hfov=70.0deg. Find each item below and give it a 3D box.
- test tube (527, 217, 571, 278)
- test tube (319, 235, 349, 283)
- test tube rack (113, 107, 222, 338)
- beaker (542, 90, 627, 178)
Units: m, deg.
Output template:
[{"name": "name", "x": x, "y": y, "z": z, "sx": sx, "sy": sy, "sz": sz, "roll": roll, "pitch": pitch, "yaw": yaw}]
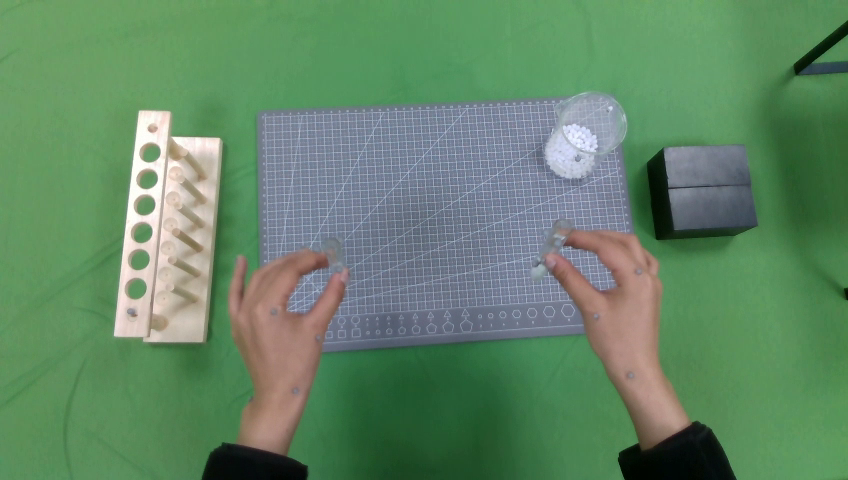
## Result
[{"name": "test tube", "x": 0.110, "y": 0.011, "z": 0.546, "sx": 0.017, "sy": 0.151, "sz": 0.017, "roll": 0, "pitch": 73, "yaw": 2}, {"name": "test tube", "x": -0.082, "y": 0.021, "z": 0.564, "sx": 0.017, "sy": 0.151, "sz": 0.017, "roll": 1, "pitch": 76, "yaw": -3}, {"name": "test tube rack", "x": -0.279, "y": -0.016, "z": 0.671, "sx": 0.067, "sy": 0.085, "sz": 0.241, "roll": 1, "pitch": 78, "yaw": -3}, {"name": "beaker", "x": 0.179, "y": -0.120, "z": 0.708, "sx": 0.084, "sy": 0.100, "sz": 0.074, "roll": 28, "pitch": 78, "yaw": 5}]
